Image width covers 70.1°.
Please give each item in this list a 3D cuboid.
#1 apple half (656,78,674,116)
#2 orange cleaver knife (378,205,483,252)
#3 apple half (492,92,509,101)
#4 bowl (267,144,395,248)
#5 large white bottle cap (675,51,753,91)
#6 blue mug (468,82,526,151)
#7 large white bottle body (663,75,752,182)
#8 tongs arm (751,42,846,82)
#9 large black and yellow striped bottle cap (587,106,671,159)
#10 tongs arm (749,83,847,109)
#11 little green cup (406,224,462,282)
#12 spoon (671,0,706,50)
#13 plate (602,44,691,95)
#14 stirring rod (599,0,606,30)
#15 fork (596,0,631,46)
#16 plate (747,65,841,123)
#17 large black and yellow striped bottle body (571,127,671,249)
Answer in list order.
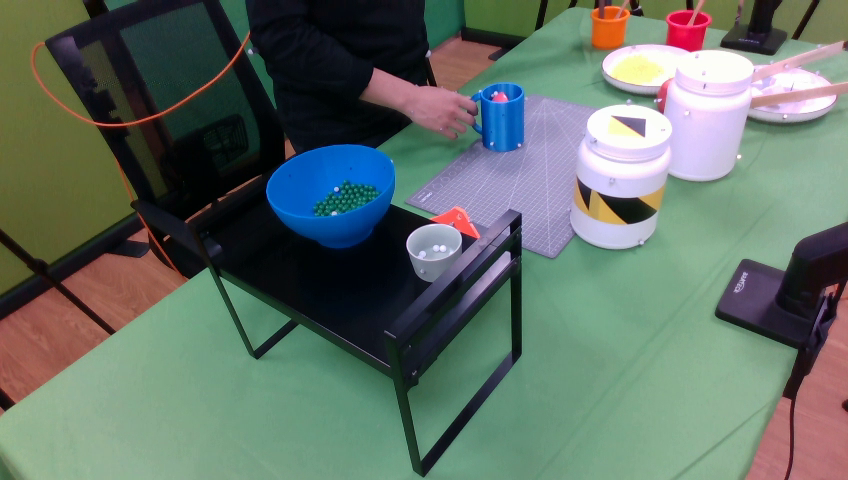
[{"bbox_3d":[0.488,-0.281,1.192,0.053,0.075,0.081,24,54,37],"label":"apple half"},{"bbox_3d":[0.005,-0.010,0.943,0.210,0.077,0.012,-5,23,47],"label":"orange cleaver knife"},{"bbox_3d":[0.143,-0.240,1.159,0.033,0.081,0.080,-11,40,-14],"label":"apple half"},{"bbox_3d":[-0.104,-0.043,0.726,0.151,0.077,0.150,-4,40,4],"label":"bowl"},{"bbox_3d":[0.463,-0.271,0.967,0.115,0.018,0.114,-4,40,3],"label":"large white bottle cap"},{"bbox_3d":[0.139,-0.242,1.170,0.116,0.106,0.082,14,45,24],"label":"blue mug"},{"bbox_3d":[0.472,-0.207,1.022,0.130,0.185,0.130,-4,41,4],"label":"large white bottle body"},{"bbox_3d":[0.708,-0.331,1.194,0.386,0.026,0.050,-18,45,-16],"label":"tongs arm"},{"bbox_3d":[0.290,-0.154,0.858,0.115,0.019,0.114,-4,42,4],"label":"large black and yellow striped bottle cap"},{"bbox_3d":[0.734,-0.280,1.133,0.388,0.028,0.028,-9,47,-5],"label":"tongs arm"},{"bbox_3d":[0.013,0.015,0.668,0.061,0.039,0.061,-4,40,4],"label":"little green cup"},{"bbox_3d":[0.629,-0.520,1.394,0.041,0.022,0.193,30,97,34],"label":"spoon"},{"bbox_3d":[0.494,-0.367,1.317,0.209,0.038,0.208,-4,40,4],"label":"plate"},{"bbox_3d":[0.421,-0.585,1.418,0.014,0.176,0.006,-2,26,7],"label":"stirring rod"},{"bbox_3d":[0.481,-0.556,1.452,0.028,0.019,0.207,41,104,40],"label":"fork"},{"bbox_3d":[0.694,-0.282,1.189,0.207,0.039,0.206,-4,40,4],"label":"plate"},{"bbox_3d":[0.296,-0.093,0.915,0.131,0.185,0.130,-3,42,3],"label":"large black and yellow striped bottle body"}]
